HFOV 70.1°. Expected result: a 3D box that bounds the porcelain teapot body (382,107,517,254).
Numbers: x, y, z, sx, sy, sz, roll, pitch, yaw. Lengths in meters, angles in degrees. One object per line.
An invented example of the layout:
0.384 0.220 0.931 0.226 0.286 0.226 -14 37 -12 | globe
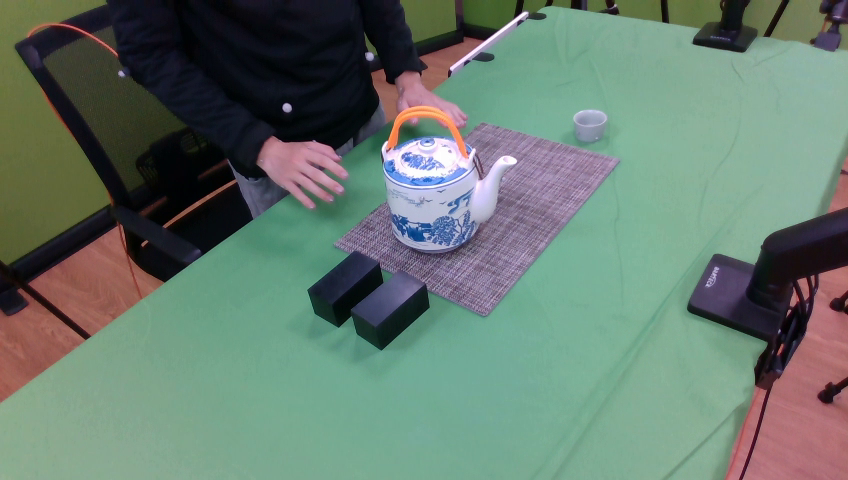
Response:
0.039 -0.095 0.912 0.205 0.226 0.145 5 42 14 | porcelain teapot body

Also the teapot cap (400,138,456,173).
0.006 -0.127 0.893 0.085 0.044 0.084 -3 44 3 | teapot cap

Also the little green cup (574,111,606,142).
0.318 -0.217 1.164 0.061 0.039 0.061 -4 39 3 | little green cup
